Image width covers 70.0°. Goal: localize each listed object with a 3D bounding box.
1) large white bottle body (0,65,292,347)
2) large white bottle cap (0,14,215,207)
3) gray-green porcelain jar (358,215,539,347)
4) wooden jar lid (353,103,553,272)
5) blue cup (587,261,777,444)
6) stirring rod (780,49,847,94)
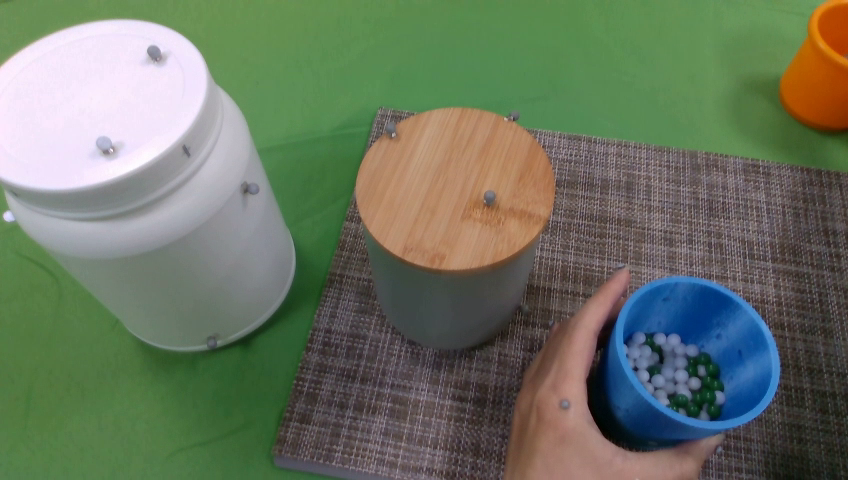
[{"bbox_3d":[-0.163,-0.024,0.374,0.130,0.186,0.129,0,60,0],"label":"large white bottle body"},{"bbox_3d":[-0.164,-0.068,0.300,0.115,0.018,0.114,0,60,0],"label":"large white bottle cap"},{"bbox_3d":[0.015,0.004,0.388,0.106,0.127,0.105,0,60,0],"label":"gray-green porcelain jar"},{"bbox_3d":[0.016,-0.029,0.334,0.108,0.021,0.107,-1,60,3],"label":"wooden jar lid"},{"bbox_3d":[0.139,0.079,0.358,0.093,0.101,0.092,1,60,-2],"label":"blue cup"},{"bbox_3d":[0.379,-0.166,0.484,0.176,0.006,0.014,-28,53,33],"label":"stirring rod"}]
